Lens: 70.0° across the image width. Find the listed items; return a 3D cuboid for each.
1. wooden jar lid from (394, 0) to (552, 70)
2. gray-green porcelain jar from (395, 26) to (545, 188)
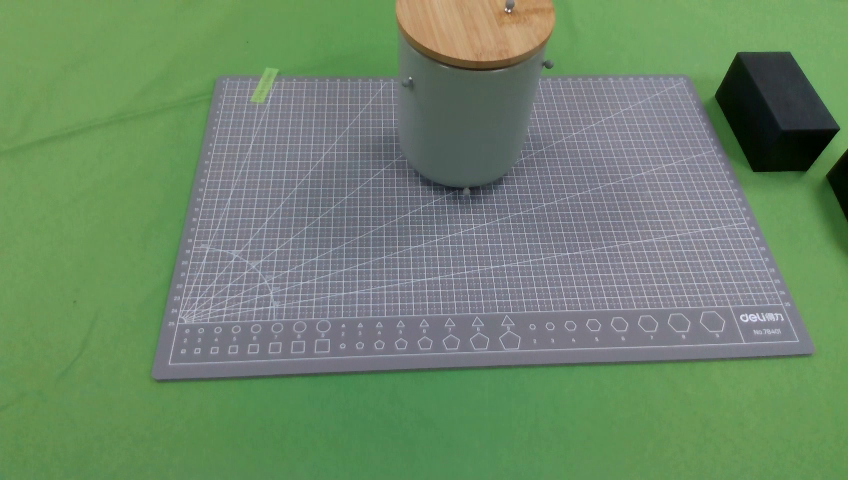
[{"bbox_3d":[0.033,-0.151,0.417,0.108,0.021,0.107,1,55,-1],"label":"wooden jar lid"},{"bbox_3d":[0.030,-0.111,0.469,0.106,0.127,0.105,2,54,-2],"label":"gray-green porcelain jar"}]
